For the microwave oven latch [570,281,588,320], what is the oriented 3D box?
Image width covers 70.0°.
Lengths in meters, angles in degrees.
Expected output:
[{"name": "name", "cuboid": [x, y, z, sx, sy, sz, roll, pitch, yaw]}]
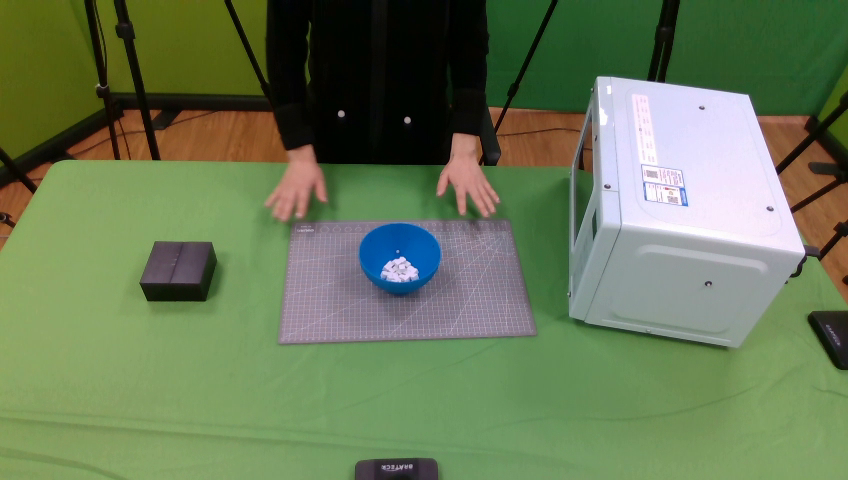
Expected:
[{"name": "microwave oven latch", "cuboid": [0.275, 0.105, 1.082, 0.030, 0.029, 0.079, 9, 45, 6]}]

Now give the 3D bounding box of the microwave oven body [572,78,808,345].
[{"name": "microwave oven body", "cuboid": [0.456, -0.063, 1.124, 0.326, 0.261, 0.439, 8, 45, 5]}]

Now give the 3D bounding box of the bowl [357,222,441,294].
[{"name": "bowl", "cuboid": [-0.047, 0.046, 1.107, 0.151, 0.077, 0.150, 2, 46, -2]}]

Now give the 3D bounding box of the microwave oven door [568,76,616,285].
[{"name": "microwave oven door", "cuboid": [0.319, -0.119, 1.161, 0.039, 0.245, 0.354, 9, 46, 5]}]
